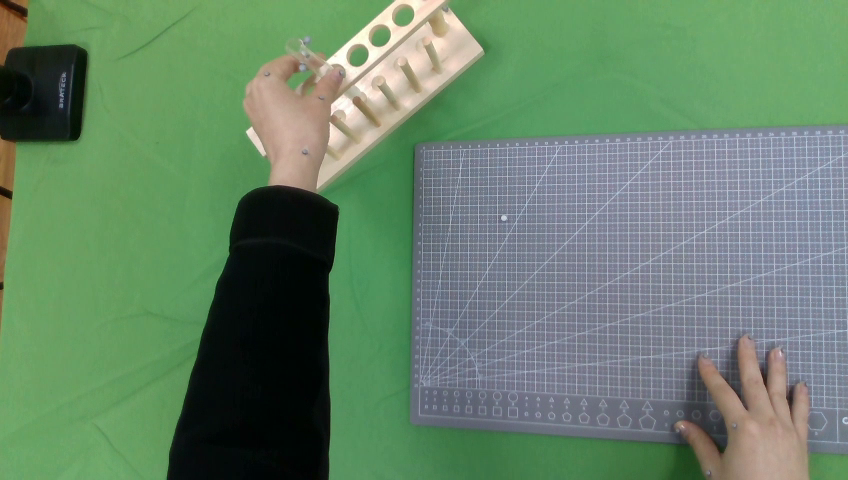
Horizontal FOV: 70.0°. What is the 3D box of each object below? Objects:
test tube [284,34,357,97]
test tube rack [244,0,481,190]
[{"bbox_3d":[-0.094,-0.163,0.579,0.017,0.151,0.017,0,88,13],"label":"test tube"},{"bbox_3d":[-0.061,-0.158,0.629,0.242,0.085,0.066,-38,79,8],"label":"test tube rack"}]
